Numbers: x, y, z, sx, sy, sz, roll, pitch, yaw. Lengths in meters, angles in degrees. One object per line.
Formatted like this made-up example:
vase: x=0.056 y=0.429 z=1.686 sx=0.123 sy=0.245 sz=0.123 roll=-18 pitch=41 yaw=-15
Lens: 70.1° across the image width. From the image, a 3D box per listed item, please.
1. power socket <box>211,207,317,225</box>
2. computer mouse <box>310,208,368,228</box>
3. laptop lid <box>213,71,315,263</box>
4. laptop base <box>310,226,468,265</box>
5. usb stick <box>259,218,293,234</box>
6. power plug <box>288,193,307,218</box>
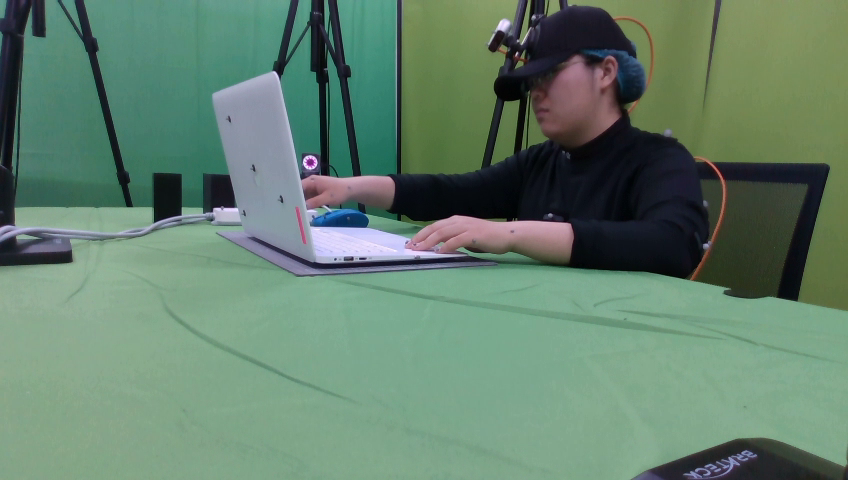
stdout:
power socket: x=-0.334 y=-0.051 z=1.282 sx=0.228 sy=0.032 sz=0.072 roll=-1 pitch=9 yaw=-28
computer mouse: x=-0.179 y=-0.045 z=1.275 sx=0.118 sy=0.041 sz=0.062 roll=-5 pitch=11 yaw=-29
laptop lid: x=-0.241 y=-0.104 z=0.865 sx=0.013 sy=0.241 sz=0.355 roll=-16 pitch=17 yaw=-28
laptop base: x=-0.122 y=0.007 z=0.954 sx=0.237 sy=0.023 sz=0.352 roll=2 pitch=6 yaw=-31
usb stick: x=-0.272 y=-0.025 z=1.108 sx=0.059 sy=0.027 sz=0.021 roll=-2 pitch=12 yaw=-27
power plug: x=-0.281 y=-0.076 z=1.340 sx=0.035 sy=0.052 sz=0.072 roll=4 pitch=6 yaw=-18
